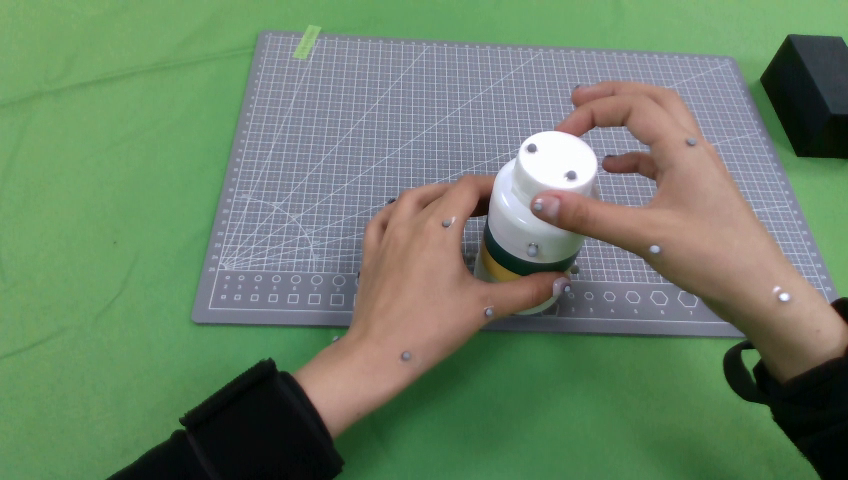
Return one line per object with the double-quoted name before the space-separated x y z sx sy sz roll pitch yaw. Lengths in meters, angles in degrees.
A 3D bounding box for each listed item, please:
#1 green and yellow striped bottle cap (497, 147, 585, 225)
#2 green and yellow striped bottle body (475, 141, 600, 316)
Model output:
"green and yellow striped bottle cap" 0.063 -0.030 0.326 0.045 0.020 0.045 6 45 -5
"green and yellow striped bottle body" 0.069 -0.007 0.378 0.063 0.120 0.062 2 55 -2
